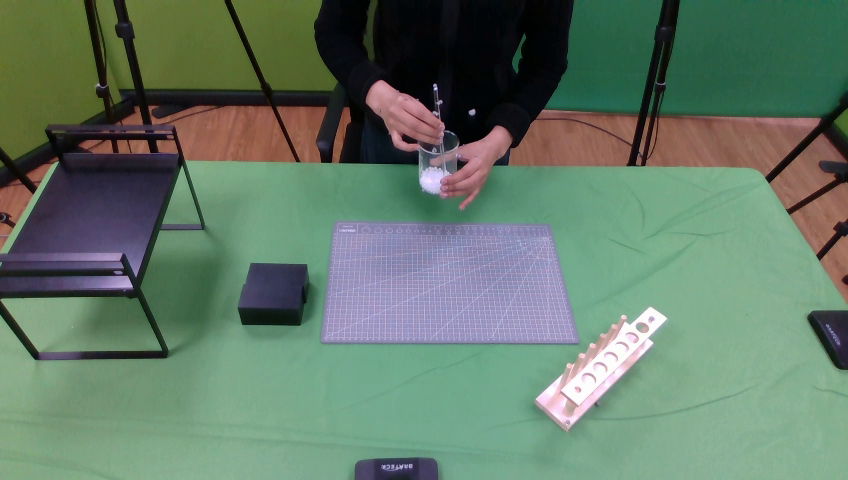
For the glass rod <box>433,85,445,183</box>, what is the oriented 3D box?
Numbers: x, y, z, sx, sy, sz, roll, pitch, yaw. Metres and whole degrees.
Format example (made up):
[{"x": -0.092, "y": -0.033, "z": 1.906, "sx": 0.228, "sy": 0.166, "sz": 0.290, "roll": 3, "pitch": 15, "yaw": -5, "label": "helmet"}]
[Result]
[{"x": 0.027, "y": -0.177, "z": 1.044, "sx": 0.008, "sy": 0.201, "sz": 0.008, "roll": -4, "pitch": 45, "yaw": 4, "label": "glass rod"}]

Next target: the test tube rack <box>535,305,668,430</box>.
[{"x": 0.290, "y": 0.193, "z": 0.984, "sx": 0.242, "sy": 0.085, "sz": 0.066, "roll": -32, "pitch": 57, "yaw": -30, "label": "test tube rack"}]

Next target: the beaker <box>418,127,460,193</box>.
[{"x": 0.026, "y": -0.143, "z": 1.094, "sx": 0.074, "sy": 0.101, "sz": 0.083, "roll": 2, "pitch": 45, "yaw": 2, "label": "beaker"}]
